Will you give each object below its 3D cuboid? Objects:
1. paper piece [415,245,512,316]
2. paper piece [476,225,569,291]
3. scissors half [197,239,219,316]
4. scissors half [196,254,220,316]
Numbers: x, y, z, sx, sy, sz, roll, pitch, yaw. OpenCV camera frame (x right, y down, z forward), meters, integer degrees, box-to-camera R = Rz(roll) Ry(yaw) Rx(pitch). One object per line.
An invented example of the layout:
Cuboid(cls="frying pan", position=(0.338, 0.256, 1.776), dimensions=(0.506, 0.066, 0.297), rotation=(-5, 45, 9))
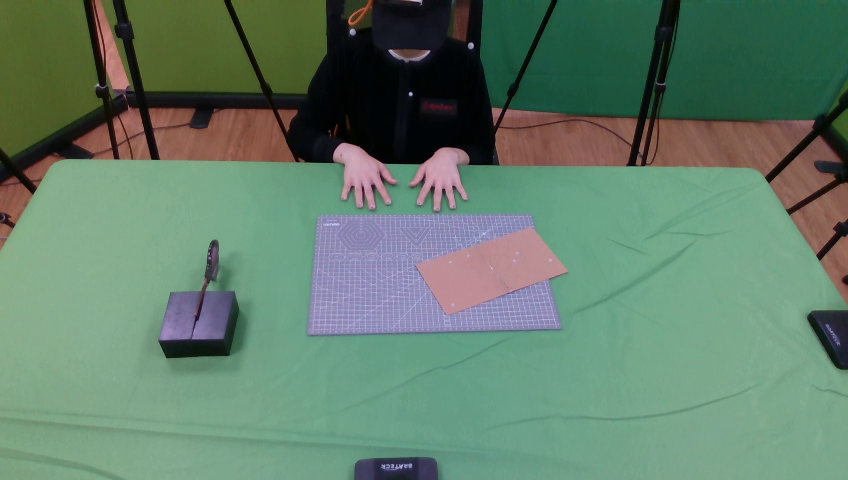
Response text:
Cuboid(cls="paper piece", position=(0.072, 0.071, 1.140), dimensions=(0.138, 0.009, 0.135), rotation=(-18, 46, -18))
Cuboid(cls="paper piece", position=(0.192, 0.033, 1.185), dimensions=(0.136, 0.004, 0.134), rotation=(-17, 50, -19))
Cuboid(cls="scissors half", position=(-0.375, 0.063, 1.049), dimensions=(0.013, 0.040, 0.174), rotation=(7, 46, -12))
Cuboid(cls="scissors half", position=(-0.379, 0.078, 1.062), dimensions=(0.013, 0.040, 0.174), rotation=(3, 29, -8))
